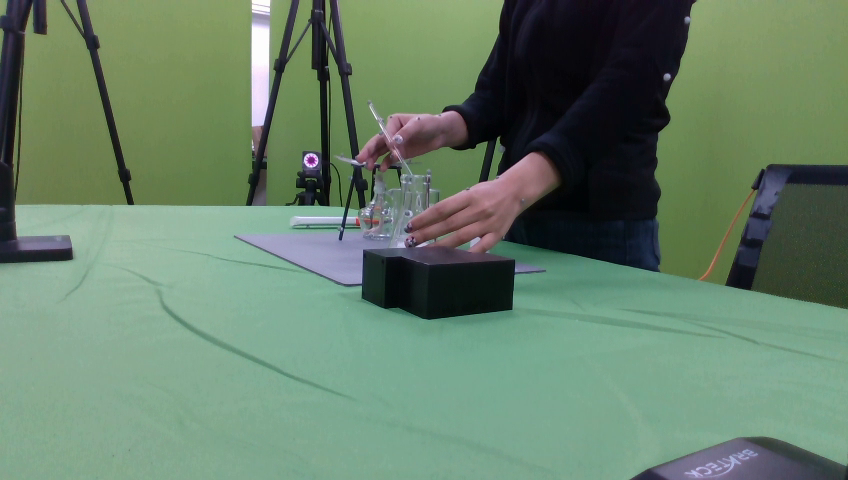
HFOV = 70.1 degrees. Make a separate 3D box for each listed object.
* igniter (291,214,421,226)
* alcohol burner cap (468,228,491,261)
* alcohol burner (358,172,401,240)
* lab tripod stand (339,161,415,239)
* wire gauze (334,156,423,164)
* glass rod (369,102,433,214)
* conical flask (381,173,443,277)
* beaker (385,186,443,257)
[{"bbox_3d":[-0.135,-0.041,1.250,0.278,0.025,0.057,-1,-3,-28],"label":"igniter"},{"bbox_3d":[0.082,0.006,0.878,0.034,0.048,0.034,2,8,0],"label":"alcohol burner cap"},{"bbox_3d":[-0.077,-0.061,1.065,0.078,0.119,0.078,4,9,0],"label":"alcohol burner"},{"bbox_3d":[-0.082,-0.070,1.059,0.148,0.131,0.148,4,6,0],"label":"lab tripod stand"},{"bbox_3d":[-0.081,-0.137,1.051,0.122,0.011,0.124,0,8,-30],"label":"wire gauze"},{"bbox_3d":[-0.035,-0.123,0.890,0.008,0.199,0.008,-27,-13,-6],"label":"glass rod"},{"bbox_3d":[-0.012,-0.020,0.731,0.075,0.122,0.075,2,7,0],"label":"conical flask"},{"bbox_3d":[-0.016,-0.028,0.886,0.084,0.100,0.074,1,7,-9],"label":"beaker"}]
